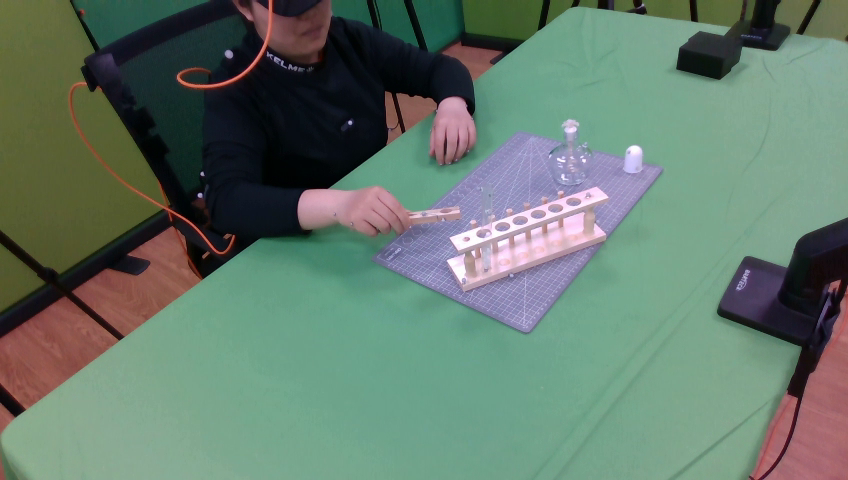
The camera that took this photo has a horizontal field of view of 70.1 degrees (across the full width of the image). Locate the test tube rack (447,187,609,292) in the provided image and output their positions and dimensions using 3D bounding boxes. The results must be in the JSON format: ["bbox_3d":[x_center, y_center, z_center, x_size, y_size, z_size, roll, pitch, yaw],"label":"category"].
[{"bbox_3d":[0.155,-0.011,0.913,0.243,0.085,0.066,-19,41,-11],"label":"test tube rack"}]

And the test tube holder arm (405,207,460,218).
[{"bbox_3d":[0.013,-0.039,0.950,0.088,0.015,0.010,-7,34,5],"label":"test tube holder arm"}]

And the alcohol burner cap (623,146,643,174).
[{"bbox_3d":[0.369,-0.142,1.061,0.034,0.048,0.033,-7,41,6],"label":"alcohol burner cap"}]

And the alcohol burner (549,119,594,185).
[{"bbox_3d":[0.254,-0.155,1.043,0.078,0.120,0.077,-7,40,6],"label":"alcohol burner"}]

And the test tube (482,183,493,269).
[{"bbox_3d":[0.089,-0.016,0.854,0.017,0.151,0.017,-2,39,2],"label":"test tube"}]

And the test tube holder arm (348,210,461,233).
[{"bbox_3d":[-0.031,-0.029,0.949,0.178,0.015,0.013,-8,34,4],"label":"test tube holder arm"}]
